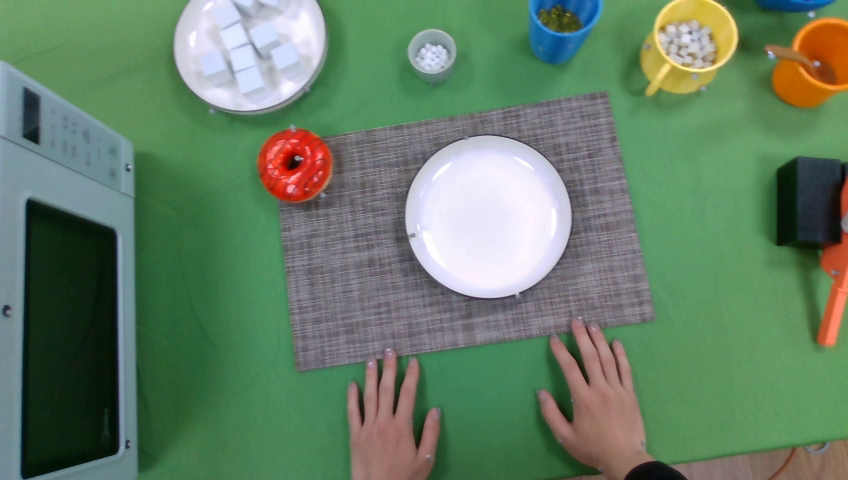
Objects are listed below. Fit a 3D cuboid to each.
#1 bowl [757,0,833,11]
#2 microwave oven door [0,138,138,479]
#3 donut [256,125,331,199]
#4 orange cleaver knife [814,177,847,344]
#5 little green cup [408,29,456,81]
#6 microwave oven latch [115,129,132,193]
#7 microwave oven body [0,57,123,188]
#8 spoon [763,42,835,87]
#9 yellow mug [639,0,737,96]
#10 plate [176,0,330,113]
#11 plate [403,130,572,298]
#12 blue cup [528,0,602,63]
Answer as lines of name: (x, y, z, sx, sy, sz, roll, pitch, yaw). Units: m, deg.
bowl: (0.465, -0.349, 0.766, 0.151, 0.077, 0.151, -1, 81, 4)
microwave oven door: (-0.387, 0.097, 0.648, 0.039, 0.245, 0.354, -6, 80, 3)
donut: (-0.168, -0.100, 0.781, 0.099, 0.048, 0.098, -1, 82, 6)
orange cleaver knife: (0.481, 0.017, 0.702, 0.012, 0.077, 0.212, 6, 110, 7)
little green cup: (0.012, -0.242, 0.799, 0.061, 0.039, 0.061, -1, 80, 4)
microwave oven latch: (-0.397, -0.101, 0.784, 0.030, 0.029, 0.079, -3, 81, 3)
microwave oven body: (-0.536, 0.070, 0.668, 0.326, 0.261, 0.440, -6, 81, 3)
spoon: (0.442, -0.211, 0.709, 0.021, 0.195, 0.041, -21, 74, 46)
yellow mug: (0.320, -0.234, 0.763, 0.099, 0.064, 0.131, 40, 86, 9)
plate: (-0.227, -0.266, 0.819, 0.207, 0.039, 0.207, -1, 80, 4)
plate: (0.078, -0.031, 0.756, 0.209, 0.038, 0.208, -1, 81, 4)
blue cup: (0.169, -0.272, 0.762, 0.092, 0.100, 0.092, 0, 82, 3)
